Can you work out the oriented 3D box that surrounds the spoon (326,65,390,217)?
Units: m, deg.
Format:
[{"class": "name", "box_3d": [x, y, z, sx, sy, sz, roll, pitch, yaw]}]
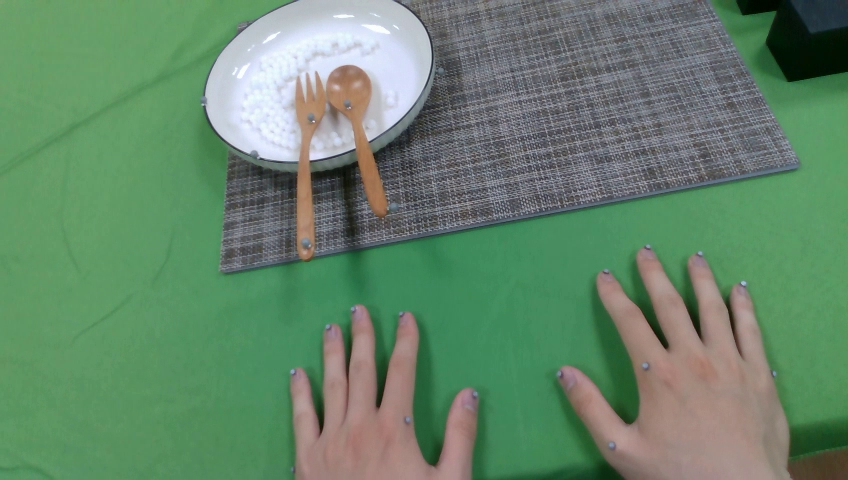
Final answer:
[{"class": "spoon", "box_3d": [-0.052, -0.086, 0.486, 0.041, 0.022, 0.191, -16, 45, -1]}]

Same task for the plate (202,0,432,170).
[{"class": "plate", "box_3d": [-0.093, -0.143, 0.546, 0.207, 0.039, 0.205, -4, 59, 8]}]

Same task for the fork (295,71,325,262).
[{"class": "fork", "box_3d": [-0.093, -0.067, 0.484, 0.028, 0.019, 0.205, -9, 50, 3]}]
